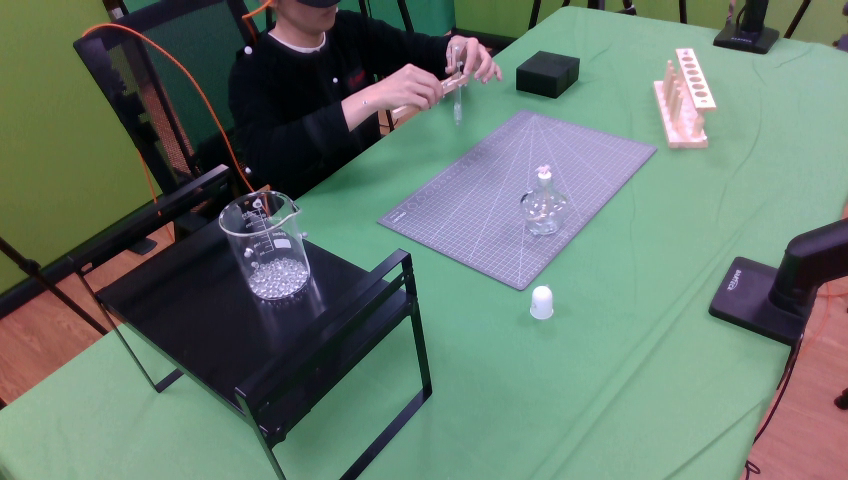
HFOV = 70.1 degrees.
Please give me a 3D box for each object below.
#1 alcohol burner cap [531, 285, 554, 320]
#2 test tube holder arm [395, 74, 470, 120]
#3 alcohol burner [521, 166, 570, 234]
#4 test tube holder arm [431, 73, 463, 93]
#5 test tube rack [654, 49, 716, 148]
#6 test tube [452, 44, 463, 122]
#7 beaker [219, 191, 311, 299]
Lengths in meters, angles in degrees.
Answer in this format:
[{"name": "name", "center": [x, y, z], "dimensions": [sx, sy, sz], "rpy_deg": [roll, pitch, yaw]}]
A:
[{"name": "alcohol burner cap", "center": [0.164, 0.084, 0.838], "dimensions": [0.034, 0.048, 0.033], "rpy_deg": [-4, 40, 4]}, {"name": "test tube holder arm", "center": [0.017, -0.253, 1.065], "dimensions": [0.013, 0.015, 0.179], "rpy_deg": [27, 50, 38]}, {"name": "alcohol burner", "center": [0.192, -0.068, 0.951], "dimensions": [0.078, 0.119, 0.077], "rpy_deg": [-4, 42, 4]}, {"name": "test tube holder arm", "center": [0.043, -0.279, 1.092], "dimensions": [0.010, 0.015, 0.088], "rpy_deg": [21, 47, 33]}, {"name": "test tube rack", "center": [0.502, -0.281, 1.176], "dimensions": [0.066, 0.085, 0.241], "rpy_deg": [2, 41, 11]}, {"name": "test tube", "center": [0.062, -0.284, 1.107], "dimensions": [0.017, 0.151, 0.017], "rpy_deg": [-3, 41, 3]}, {"name": "beaker", "center": [-0.164, 0.008, 0.654], "dimensions": [0.084, 0.101, 0.073], "rpy_deg": [-10, 41, -3]}]
